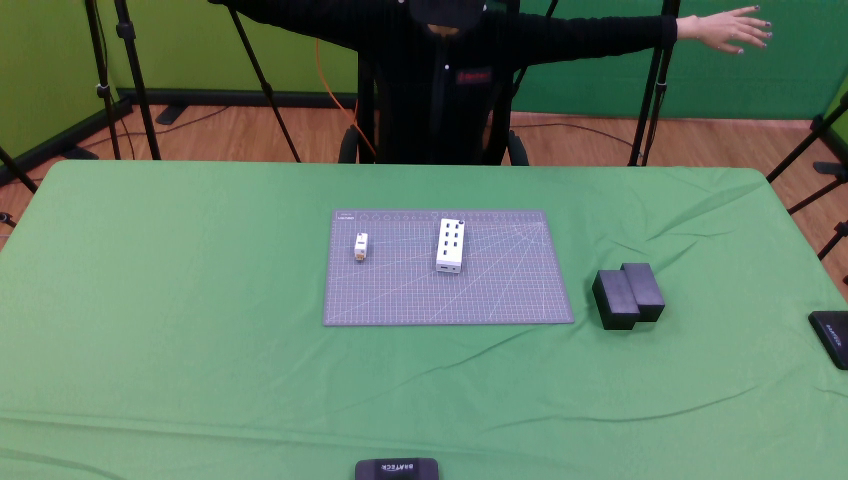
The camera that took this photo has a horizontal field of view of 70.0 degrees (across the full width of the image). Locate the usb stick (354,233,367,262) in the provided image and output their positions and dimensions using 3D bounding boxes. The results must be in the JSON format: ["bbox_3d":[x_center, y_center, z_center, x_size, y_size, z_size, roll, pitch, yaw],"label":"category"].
[{"bbox_3d":[-0.123,0.015,1.168,0.021,0.027,0.059,5,49,-1],"label":"usb stick"}]

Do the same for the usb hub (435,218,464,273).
[{"bbox_3d":[0.052,0.009,1.188,0.049,0.025,0.124,7,46,2],"label":"usb hub"}]
